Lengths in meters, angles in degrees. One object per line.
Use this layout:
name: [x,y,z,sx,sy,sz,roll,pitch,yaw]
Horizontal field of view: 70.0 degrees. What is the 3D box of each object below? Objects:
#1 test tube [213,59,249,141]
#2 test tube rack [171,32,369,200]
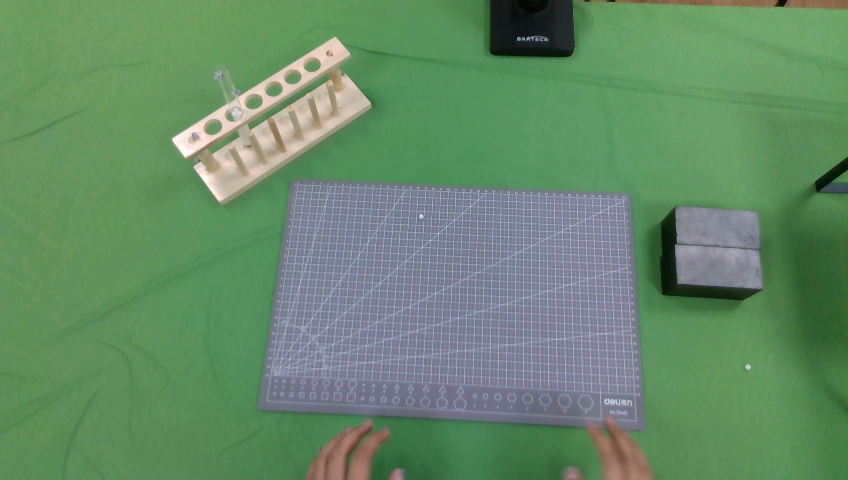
test tube: [-0.231,-0.166,0.737,0.017,0.151,0.017,2,67,-4]
test tube rack: [-0.191,-0.160,0.787,0.242,0.086,0.066,-36,73,-11]
